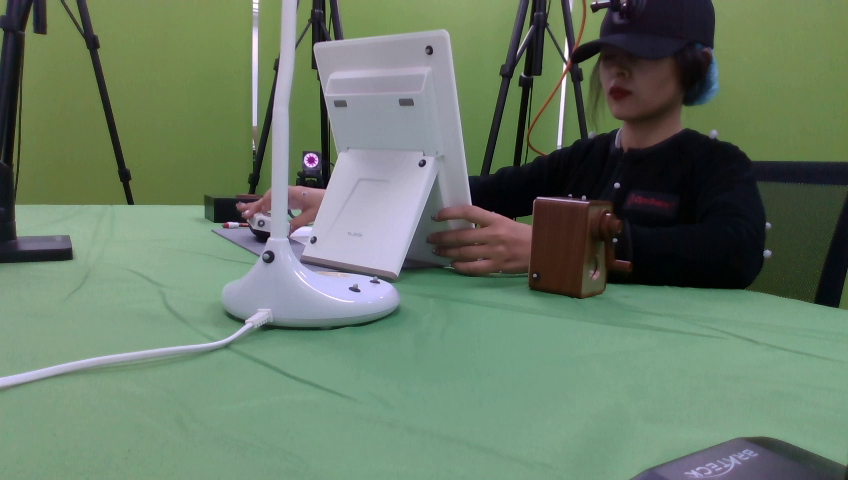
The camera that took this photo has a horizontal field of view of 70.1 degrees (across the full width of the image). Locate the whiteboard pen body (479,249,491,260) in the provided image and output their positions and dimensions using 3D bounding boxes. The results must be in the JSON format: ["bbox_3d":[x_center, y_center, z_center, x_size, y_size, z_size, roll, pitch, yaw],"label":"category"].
[{"bbox_3d":[0.032,0.016,0.898,0.140,0.017,0.017,6,8,27],"label":"whiteboard pen body"}]

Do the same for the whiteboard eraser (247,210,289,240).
[{"bbox_3d":[-0.256,-0.022,0.985,0.056,0.042,0.112,15,1,-22],"label":"whiteboard eraser"}]

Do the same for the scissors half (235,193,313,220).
[{"bbox_3d":[-0.324,-0.077,1.319,0.176,0.040,0.012,17,6,-31],"label":"scissors half"}]

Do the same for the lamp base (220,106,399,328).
[{"bbox_3d":[-0.101,-0.023,0.531,0.160,0.180,0.179,4,10,10],"label":"lamp base"}]

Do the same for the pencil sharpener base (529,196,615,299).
[{"bbox_3d":[0.168,0.007,0.678,0.076,0.107,0.062,10,10,42],"label":"pencil sharpener base"}]

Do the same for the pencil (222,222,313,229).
[{"bbox_3d":[-0.302,-0.030,1.189,0.195,0.012,0.012,-2,9,-42],"label":"pencil"}]

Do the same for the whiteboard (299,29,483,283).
[{"bbox_3d":[-0.074,-0.082,0.742,0.216,0.305,0.144,9,29,37],"label":"whiteboard"}]

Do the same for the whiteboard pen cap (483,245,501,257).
[{"bbox_3d":[0.104,0.017,0.936,0.018,0.018,0.033,-1,4,-22],"label":"whiteboard pen cap"}]

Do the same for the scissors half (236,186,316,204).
[{"bbox_3d":[-0.320,-0.097,1.316,0.176,0.040,0.013,-3,11,-29],"label":"scissors half"}]

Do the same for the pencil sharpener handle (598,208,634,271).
[{"bbox_3d":[0.208,0.000,0.644,0.030,0.068,0.036,10,23,42],"label":"pencil sharpener handle"}]
